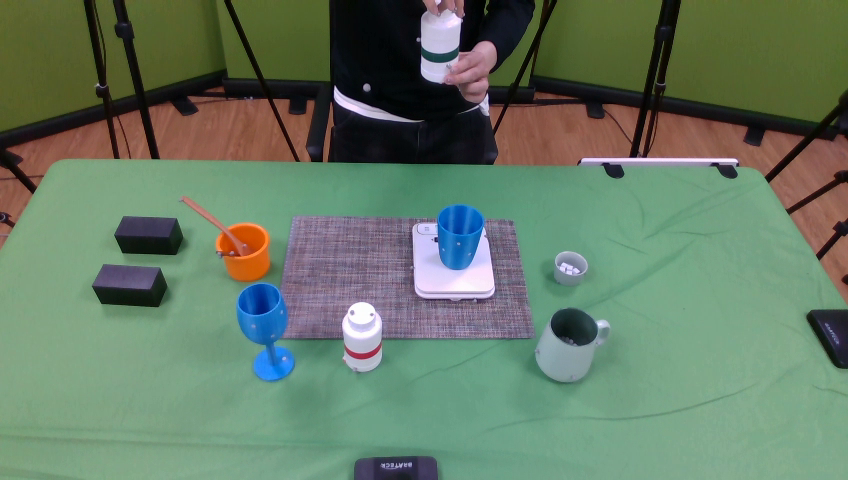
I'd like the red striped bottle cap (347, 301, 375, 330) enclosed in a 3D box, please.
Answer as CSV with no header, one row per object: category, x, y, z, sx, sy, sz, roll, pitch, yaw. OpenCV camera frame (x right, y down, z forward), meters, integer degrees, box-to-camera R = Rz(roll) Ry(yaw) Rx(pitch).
red striped bottle cap,-0.097,0.116,0.934,0.044,0.018,0.044,3,49,-3

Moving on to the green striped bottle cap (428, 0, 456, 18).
green striped bottle cap,0.027,-0.359,0.927,0.044,0.020,0.044,1,54,-1

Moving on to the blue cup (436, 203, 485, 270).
blue cup,0.062,-0.001,1.099,0.093,0.101,0.092,2,43,-2

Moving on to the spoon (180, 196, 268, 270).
spoon,-0.359,-0.014,1.094,0.021,0.194,0.041,-27,26,32

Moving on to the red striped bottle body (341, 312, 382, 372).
red striped bottle body,-0.100,0.154,0.972,0.063,0.120,0.062,2,46,-2

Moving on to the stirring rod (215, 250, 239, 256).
stirring rod,-0.339,0.024,1.059,0.014,0.176,0.006,16,86,-6

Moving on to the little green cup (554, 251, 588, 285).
little green cup,0.277,0.055,1.151,0.061,0.039,0.061,1,46,-1

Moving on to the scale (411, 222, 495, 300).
scale,0.052,0.031,1.158,0.149,0.032,0.199,1,46,-4

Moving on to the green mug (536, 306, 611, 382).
green mug,0.250,0.167,0.996,0.125,0.105,0.092,-15,48,-18

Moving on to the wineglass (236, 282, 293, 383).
wineglass,-0.243,0.143,0.934,0.074,0.173,0.073,2,46,-2

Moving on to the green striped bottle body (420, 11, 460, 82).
green striped bottle body,0.025,-0.320,0.969,0.063,0.120,0.063,1,47,-1
